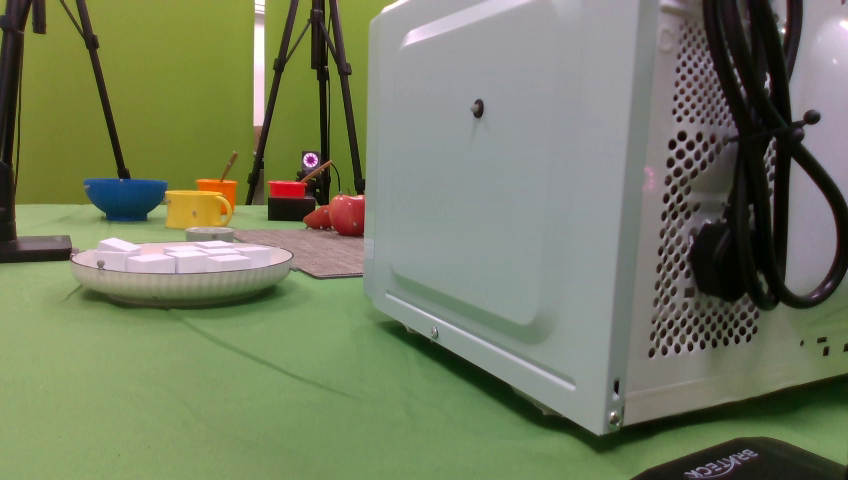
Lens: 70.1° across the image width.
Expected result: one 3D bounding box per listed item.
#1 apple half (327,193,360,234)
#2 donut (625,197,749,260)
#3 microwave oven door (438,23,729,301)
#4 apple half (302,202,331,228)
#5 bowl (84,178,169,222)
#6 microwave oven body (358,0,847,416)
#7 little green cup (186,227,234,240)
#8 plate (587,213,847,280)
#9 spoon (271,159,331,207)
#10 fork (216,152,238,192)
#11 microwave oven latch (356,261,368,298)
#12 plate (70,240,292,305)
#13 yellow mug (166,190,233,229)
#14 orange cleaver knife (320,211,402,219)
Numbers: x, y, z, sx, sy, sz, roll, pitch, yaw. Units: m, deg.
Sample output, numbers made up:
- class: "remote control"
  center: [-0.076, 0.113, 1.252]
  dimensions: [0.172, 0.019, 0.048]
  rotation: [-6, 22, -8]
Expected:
- class: "apple half"
  center: [-0.132, -0.047, 1.087]
  dimensions: [0.081, 0.074, 0.053]
  rotation: [5, 11, -13]
- class: "donut"
  center: [0.223, -0.008, 0.519]
  dimensions: [0.099, 0.048, 0.099]
  rotation: [13, 2, 0]
- class: "microwave oven door"
  center: [0.181, -0.072, 0.620]
  dimensions: [0.358, 0.243, 0.039]
  rotation: [-2, 8, -29]
- class: "apple half"
  center: [-0.193, -0.044, 1.169]
  dimensions: [0.081, 0.032, 0.081]
  rotation: [-24, -11, -5]
- class: "bowl"
  center: [-0.584, -0.078, 1.194]
  dimensions: [0.151, 0.077, 0.151]
  rotation: [3, 8, 0]
- class: "microwave oven body"
  center: [0.211, -0.047, 0.474]
  dimensions: [0.444, 0.260, 0.324]
  rotation: [-1, 8, -28]
- class: "little green cup"
  center: [-0.284, 0.005, 0.805]
  dimensions: [0.061, 0.038, 0.061]
  rotation: [2, 8, 0]
- class: "plate"
  center: [0.244, 0.002, 0.512]
  dimensions: [0.209, 0.038, 0.209]
  rotation: [1, 7, 0]
- class: "spoon"
  center: [-0.308, -0.142, 1.514]
  dimensions: [0.193, 0.021, 0.041]
  rotation: [-41, 3, 8]
- class: "fork"
  center: [-0.455, -0.132, 1.367]
  dimensions: [0.028, 0.018, 0.207]
  rotation: [-2, -35, -38]
- class: "microwave oven latch"
  center: [-0.020, 0.033, 0.530]
  dimensions: [0.079, 0.029, 0.030]
  rotation: [0, 7, -26]
- class: "plate"
  center: [-0.242, 0.031, 0.618]
  dimensions: [0.208, 0.039, 0.207]
  rotation: [2, 8, 0]
- class: "yellow mug"
  center: [-0.415, -0.057, 1.132]
  dimensions: [0.130, 0.064, 0.100]
  rotation: [6, 8, 16]
- class: "orange cleaver knife"
  center: [-0.142, -0.057, 1.395]
  dimensions: [0.077, 0.012, 0.212]
  rotation: [2, 6, 44]
